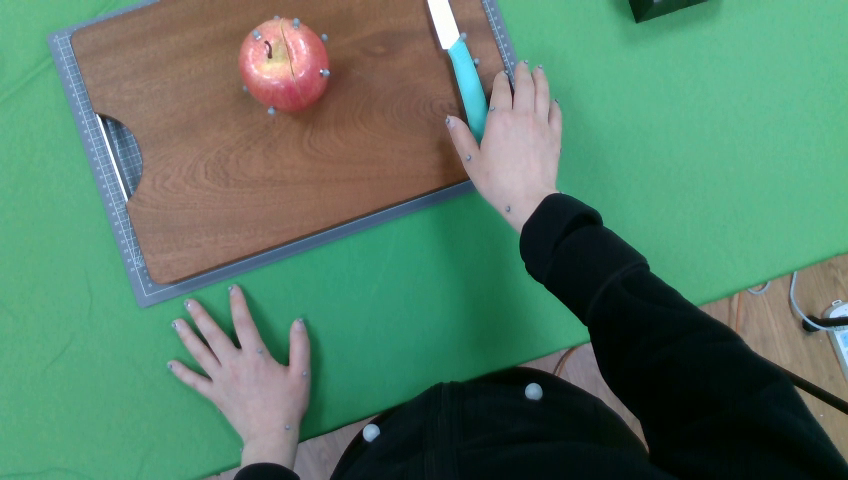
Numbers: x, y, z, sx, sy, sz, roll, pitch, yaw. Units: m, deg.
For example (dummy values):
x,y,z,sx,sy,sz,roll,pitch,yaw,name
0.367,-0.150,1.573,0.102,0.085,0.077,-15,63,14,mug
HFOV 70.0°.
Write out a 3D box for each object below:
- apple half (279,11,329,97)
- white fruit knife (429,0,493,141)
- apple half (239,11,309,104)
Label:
x,y,z,sx,sy,sz,roll,pitch,yaw,name
-0.105,-0.174,0.564,0.033,0.081,0.081,-14,88,1,apple half
0.030,-0.199,0.597,0.027,0.016,0.207,-17,88,-14,white fruit knife
-0.142,-0.164,0.565,0.053,0.074,0.081,-15,92,3,apple half
